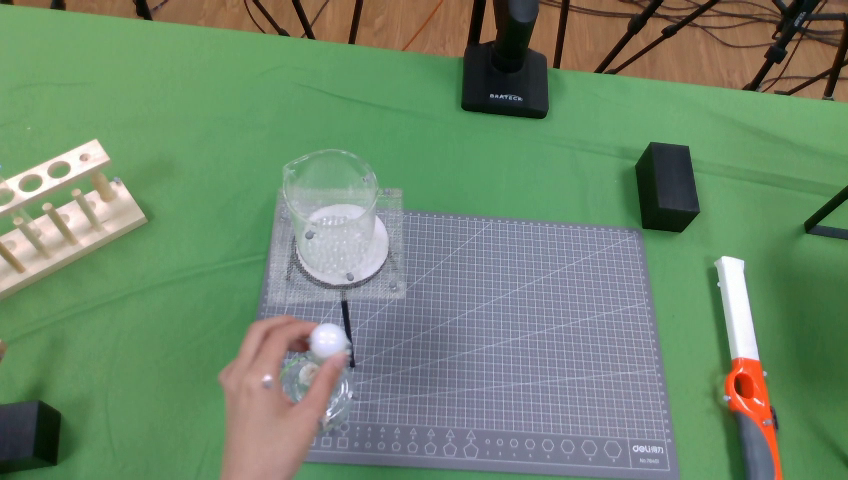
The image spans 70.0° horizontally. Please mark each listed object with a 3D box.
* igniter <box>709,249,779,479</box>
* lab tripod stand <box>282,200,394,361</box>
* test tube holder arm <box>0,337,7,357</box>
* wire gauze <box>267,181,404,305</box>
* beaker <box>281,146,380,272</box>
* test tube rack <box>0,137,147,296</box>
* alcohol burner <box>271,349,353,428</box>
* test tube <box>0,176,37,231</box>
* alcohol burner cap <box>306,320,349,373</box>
[{"bbox_3d":[0.351,0.136,0.671,0.057,0.025,0.274,12,61,-11],"label":"igniter"},{"bbox_3d":[-0.084,0.035,0.617,0.148,0.132,0.147,3,62,-6],"label":"lab tripod stand"},{"bbox_3d":[-0.402,0.130,0.546,0.010,0.015,0.087,8,60,-2],"label":"test tube holder arm"},{"bbox_3d":[-0.081,-0.001,0.562,0.121,0.011,0.124,-1,65,-5],"label":"wire gauze"},{"bbox_3d":[-0.081,-0.023,0.518,0.084,0.101,0.073,27,62,9],"label":"beaker"},{"bbox_3d":[-0.432,-0.007,0.634,0.242,0.086,0.066,-33,69,-21],"label":"test tube rack"},{"bbox_3d":[-0.106,0.135,0.572,0.078,0.120,0.077,4,60,-6],"label":"alcohol burner"},{"bbox_3d":[-0.425,-0.053,0.604,0.017,0.151,0.017,3,56,-5],"label":"test tube"},{"bbox_3d":[-0.078,0.082,0.480,0.034,0.048,0.033,1,56,-1],"label":"alcohol burner cap"}]
